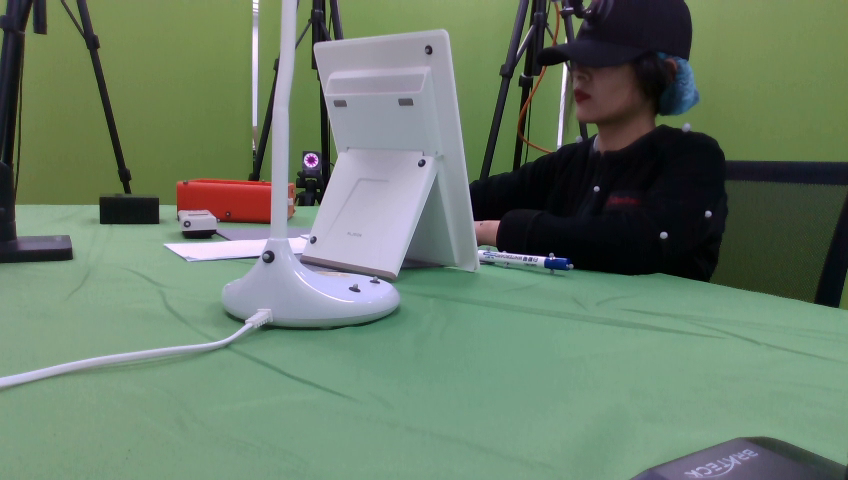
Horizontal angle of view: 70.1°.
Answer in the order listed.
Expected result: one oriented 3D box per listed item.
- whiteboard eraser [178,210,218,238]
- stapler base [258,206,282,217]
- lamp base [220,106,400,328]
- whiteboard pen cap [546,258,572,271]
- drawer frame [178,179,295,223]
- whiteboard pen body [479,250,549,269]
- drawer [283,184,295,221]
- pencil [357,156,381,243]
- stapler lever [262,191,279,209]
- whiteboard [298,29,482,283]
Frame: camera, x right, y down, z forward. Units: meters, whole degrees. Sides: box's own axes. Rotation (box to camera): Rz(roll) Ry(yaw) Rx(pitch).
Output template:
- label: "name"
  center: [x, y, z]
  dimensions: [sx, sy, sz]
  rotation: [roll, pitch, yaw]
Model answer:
- label: "whiteboard eraser"
  center: [-0.380, -0.027, 1.014]
  dimensions: [0.056, 0.042, 0.112]
  rotation: [0, 8, -25]
- label: "stapler base"
  center: [-0.331, -0.065, 1.305]
  dimensions: [0.041, 0.024, 0.130]
  rotation: [9, -2, -9]
- label: "lamp base"
  center: [-0.101, -0.023, 0.531]
  dimensions: [0.160, 0.180, 0.179]
  rotation: [4, 10, 10]
- label: "whiteboard pen cap"
  center: [0.175, 0.032, 0.790]
  dimensions: [0.033, 0.018, 0.018]
  rotation: [3, 7, 37]
- label: "drawer frame"
  center: [-0.397, -0.088, 1.315]
  dimensions: [0.214, 0.082, 0.201]
  rotation: [1, 8, -7]
- label: "whiteboard pen body"
  center: [0.130, 0.028, 0.827]
  dimensions: [0.140, 0.017, 0.017]
  rotation: [7, 8, 38]
- label: "drawer"
  center: [-0.394, -0.087, 1.317]
  dimensions: [0.212, 0.073, 0.194]
  rotation: [1, 8, -7]
- label: "pencil"
  center: [-0.096, -0.072, 1.041]
  dimensions: [0.012, 0.194, 0.012]
  rotation: [6, -36, 5]
- label: "stapler lever"
  center: [-0.329, -0.086, 1.306]
  dimensions: [0.027, 0.040, 0.118]
  rotation: [9, 3, -9]
- label: "whiteboard"
  center: [-0.075, -0.082, 0.741]
  dimensions: [0.216, 0.305, 0.144]
  rotation: [9, 29, 37]
